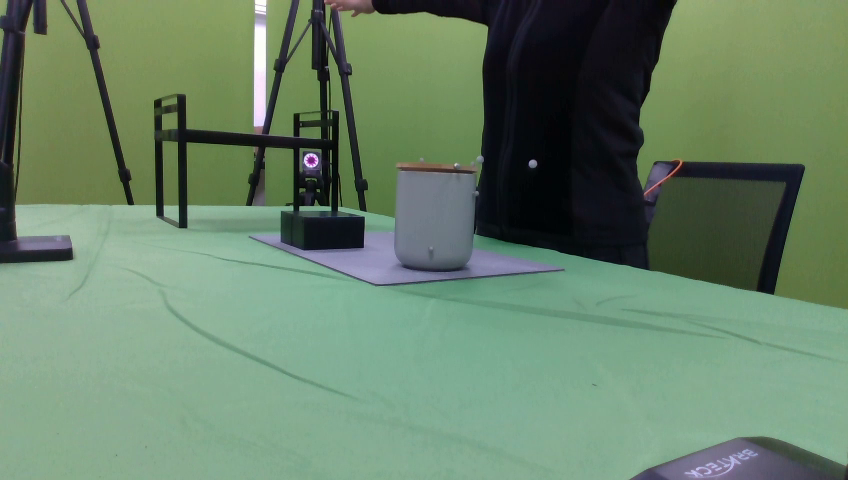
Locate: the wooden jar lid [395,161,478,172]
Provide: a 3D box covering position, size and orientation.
[{"bbox_3d":[0.016,-0.090,0.784,0.108,0.020,0.108,4,5,0],"label":"wooden jar lid"}]

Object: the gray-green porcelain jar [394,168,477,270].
[{"bbox_3d":[0.014,-0.029,0.793,0.106,0.126,0.106,2,7,0],"label":"gray-green porcelain jar"}]
